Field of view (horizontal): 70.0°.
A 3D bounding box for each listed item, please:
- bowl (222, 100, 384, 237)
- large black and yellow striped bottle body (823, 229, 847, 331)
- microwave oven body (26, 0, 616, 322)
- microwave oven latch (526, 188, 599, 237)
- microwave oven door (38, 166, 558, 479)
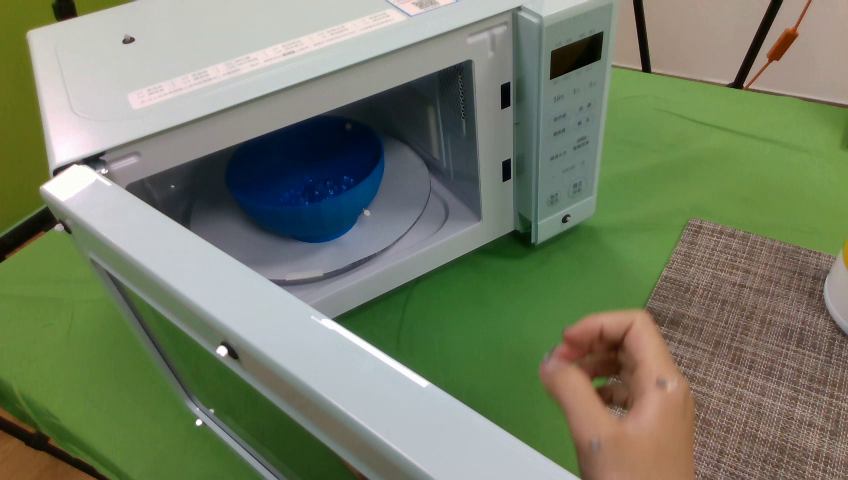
[{"bbox_3d":[-0.107,-0.055,0.586,0.151,0.077,0.150,-3,54,5],"label":"bowl"},{"bbox_3d":[0.409,-0.005,0.468,0.131,0.186,0.129,-4,42,4],"label":"large black and yellow striped bottle body"},{"bbox_3d":[-0.093,-0.112,0.611,0.442,0.263,0.322,-26,45,-17],"label":"microwave oven body"},{"bbox_3d":[0.144,-0.034,0.632,0.079,0.030,0.030,-24,45,-16],"label":"microwave oven latch"},{"bbox_3d":[-0.076,0.109,0.357,0.352,0.246,0.039,25,52,32],"label":"microwave oven door"}]
